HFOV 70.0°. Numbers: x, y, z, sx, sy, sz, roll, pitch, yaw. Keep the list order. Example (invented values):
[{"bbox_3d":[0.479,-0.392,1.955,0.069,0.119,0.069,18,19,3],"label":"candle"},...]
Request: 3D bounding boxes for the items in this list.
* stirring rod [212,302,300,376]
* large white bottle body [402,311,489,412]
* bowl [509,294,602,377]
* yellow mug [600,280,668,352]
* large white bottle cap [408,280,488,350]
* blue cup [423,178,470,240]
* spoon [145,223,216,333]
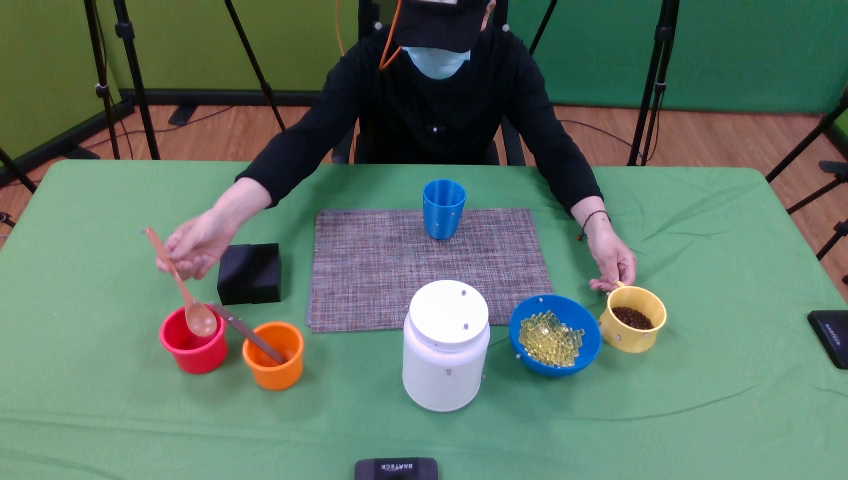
[{"bbox_3d":[-0.261,0.156,0.948,0.177,0.006,0.014,45,45,-20],"label":"stirring rod"},{"bbox_3d":[0.031,0.163,0.928,0.131,0.185,0.130,2,46,-2],"label":"large white bottle body"},{"bbox_3d":[0.211,0.171,1.007,0.151,0.077,0.150,2,46,-2],"label":"bowl"},{"bbox_3d":[0.361,0.125,1.069,0.100,0.064,0.130,-9,47,-11],"label":"yellow mug"},{"bbox_3d":[0.034,0.105,0.867,0.115,0.018,0.114,2,46,-2],"label":"large white bottle cap"},{"bbox_3d":[0.036,-0.056,1.193,0.093,0.101,0.092,3,45,-3],"label":"blue cup"},{"bbox_3d":[-0.381,0.058,0.942,0.041,0.021,0.194,-29,96,-25],"label":"spoon"}]
